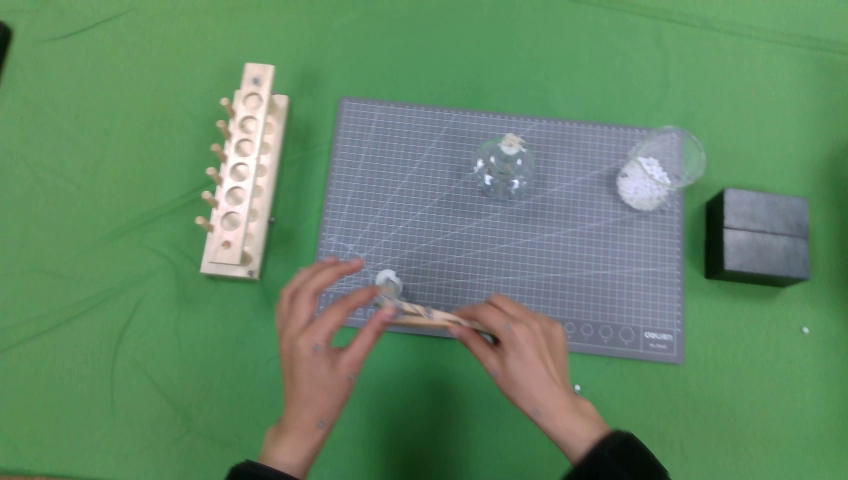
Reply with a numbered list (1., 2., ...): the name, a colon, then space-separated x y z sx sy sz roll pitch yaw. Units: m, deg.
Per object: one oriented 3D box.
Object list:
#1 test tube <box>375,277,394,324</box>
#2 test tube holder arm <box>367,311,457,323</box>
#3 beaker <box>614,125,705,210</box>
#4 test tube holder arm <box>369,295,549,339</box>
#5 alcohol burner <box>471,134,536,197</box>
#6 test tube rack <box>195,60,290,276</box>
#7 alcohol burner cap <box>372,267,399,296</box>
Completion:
1. test tube: -0.035 0.059 0.559 0.017 0.151 0.017 1 73 -3
2. test tube holder arm: -0.011 0.076 0.596 0.088 0.015 0.010 1 80 1
3. beaker: 0.273 -0.082 0.723 0.084 0.101 0.073 5 75 1
4. test tube holder arm: 0.034 0.076 0.596 0.178 0.015 0.013 9 81 2
5. alcohol burner: 0.095 -0.095 0.715 0.078 0.119 0.077 0 76 1
6. test tube rack: -0.221 -0.086 0.722 0.067 0.085 0.241 7 76 1
7. alcohol burner cap: -0.046 0.046 0.712 0.034 0.048 0.033 1 76 -2
